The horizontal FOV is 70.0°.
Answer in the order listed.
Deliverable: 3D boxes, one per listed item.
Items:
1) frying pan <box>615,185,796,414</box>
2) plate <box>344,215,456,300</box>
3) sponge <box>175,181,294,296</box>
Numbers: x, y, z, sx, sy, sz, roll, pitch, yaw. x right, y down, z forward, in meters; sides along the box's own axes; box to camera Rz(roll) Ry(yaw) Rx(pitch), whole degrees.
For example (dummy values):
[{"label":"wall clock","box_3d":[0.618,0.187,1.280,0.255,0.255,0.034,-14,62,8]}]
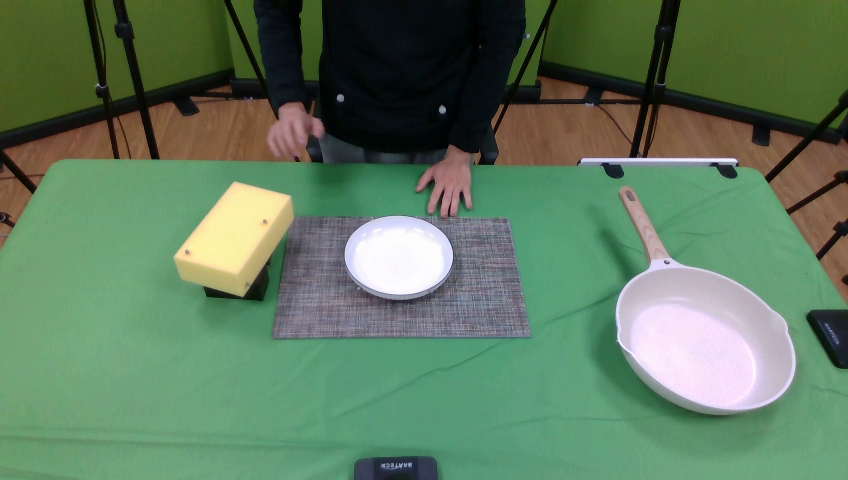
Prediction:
[{"label":"frying pan","box_3d":[0.450,0.087,1.092,0.307,0.103,0.484,-4,55,-10]},{"label":"plate","box_3d":[-0.045,0.036,1.146,0.208,0.039,0.206,2,46,-2]},{"label":"sponge","box_3d":[-0.333,-0.007,1.086,0.118,0.061,0.206,13,47,9]}]
